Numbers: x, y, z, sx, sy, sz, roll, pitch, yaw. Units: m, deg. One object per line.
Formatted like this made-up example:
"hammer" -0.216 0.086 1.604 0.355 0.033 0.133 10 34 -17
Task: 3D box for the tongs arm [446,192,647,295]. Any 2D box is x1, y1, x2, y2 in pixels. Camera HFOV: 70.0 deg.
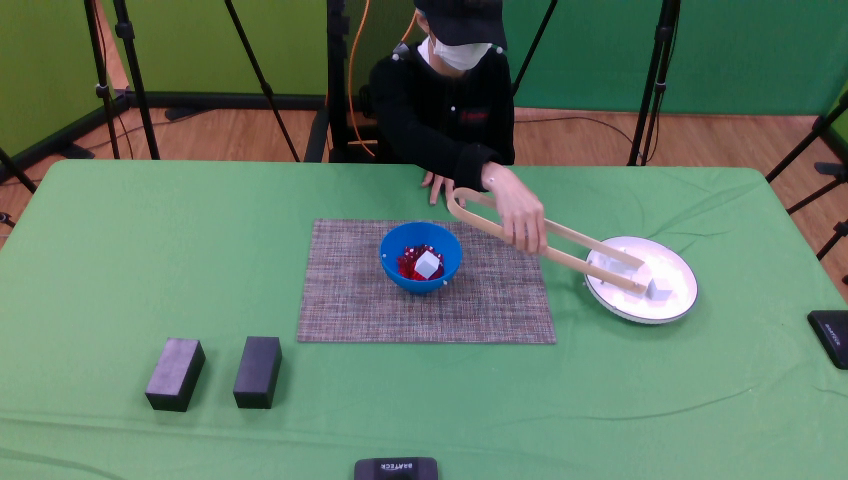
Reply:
"tongs arm" 0.219 0.009 1.074 0.385 0.026 0.050 21 47 -9

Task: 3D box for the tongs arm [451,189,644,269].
"tongs arm" 0.226 -0.018 1.101 0.388 0.028 0.028 21 50 -9

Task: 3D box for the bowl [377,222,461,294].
"bowl" -0.010 0.046 1.110 0.151 0.077 0.150 2 46 -2

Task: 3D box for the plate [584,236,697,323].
"plate" 0.404 0.078 1.144 0.209 0.038 0.208 2 45 -2
